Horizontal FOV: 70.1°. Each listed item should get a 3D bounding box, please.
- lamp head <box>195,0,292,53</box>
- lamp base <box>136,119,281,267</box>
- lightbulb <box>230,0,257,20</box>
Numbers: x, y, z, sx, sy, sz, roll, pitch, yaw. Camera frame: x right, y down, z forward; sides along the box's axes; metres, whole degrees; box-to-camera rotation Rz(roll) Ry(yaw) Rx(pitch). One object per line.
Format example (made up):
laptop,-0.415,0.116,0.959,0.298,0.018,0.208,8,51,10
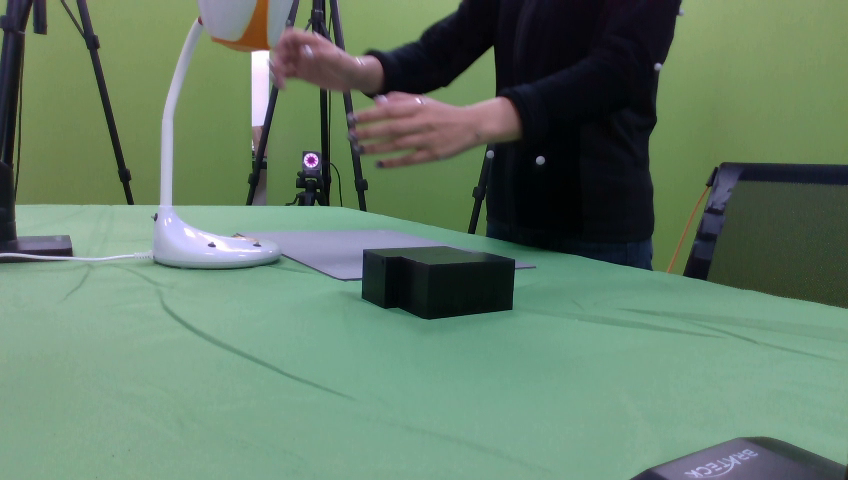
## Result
lamp head,-0.185,-0.254,0.610,0.112,0.123,0.112,10,20,-3
lamp base,-0.275,-0.061,0.773,0.160,0.180,0.180,9,13,44
lightbulb,-0.175,-0.275,0.603,0.059,0.107,0.059,11,11,-2
